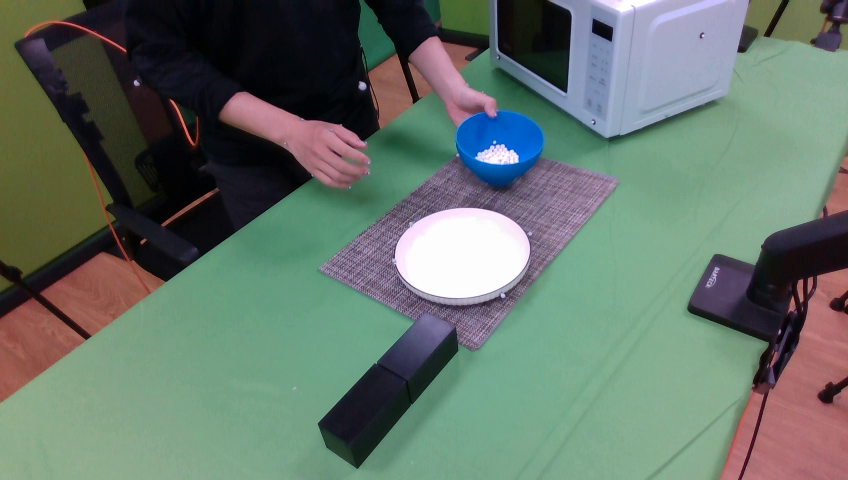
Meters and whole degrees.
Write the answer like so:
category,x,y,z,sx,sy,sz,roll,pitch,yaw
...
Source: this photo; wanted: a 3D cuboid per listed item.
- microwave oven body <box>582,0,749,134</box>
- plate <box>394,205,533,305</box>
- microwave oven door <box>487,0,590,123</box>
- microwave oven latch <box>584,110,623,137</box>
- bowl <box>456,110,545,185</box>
category,x,y,z,sx,sy,sz,roll,pitch,yaw
microwave oven body,0.382,-0.445,1.246,0.327,0.261,0.437,-22,42,-16
plate,0.059,0.025,0.915,0.207,0.039,0.206,-4,41,4
microwave oven door,0.232,-0.420,1.231,0.039,0.245,0.352,-22,43,-16
microwave oven latch,0.337,-0.222,1.142,0.030,0.029,0.078,-21,42,-14
bowl,0.128,-0.147,1.035,0.151,0.077,0.150,0,47,1
